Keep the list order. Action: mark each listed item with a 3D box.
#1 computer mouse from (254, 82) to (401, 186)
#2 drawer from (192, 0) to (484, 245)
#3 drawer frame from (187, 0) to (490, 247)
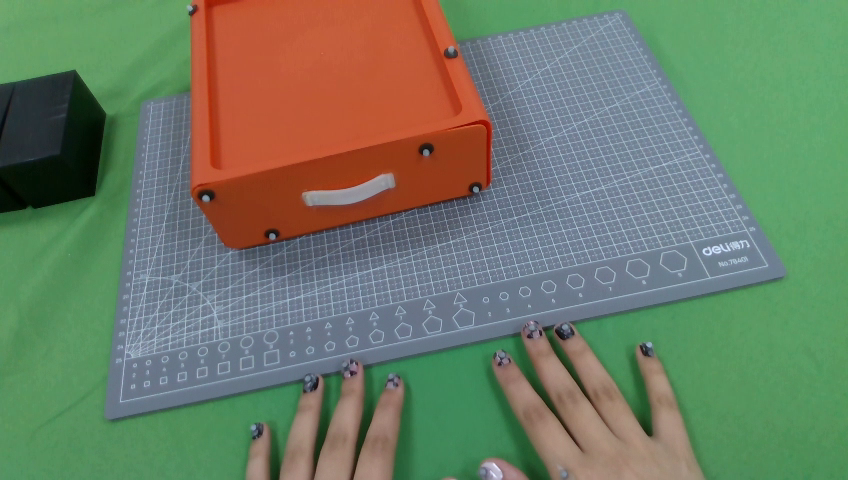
[{"bbox_3d":[-0.076,-0.083,0.468,0.117,0.041,0.062,-15,59,3],"label":"computer mouse"},{"bbox_3d":[-0.073,-0.114,0.473,0.194,0.074,0.209,-14,55,-3],"label":"drawer"},{"bbox_3d":[-0.074,-0.117,0.474,0.202,0.083,0.211,-14,55,-4],"label":"drawer frame"}]
